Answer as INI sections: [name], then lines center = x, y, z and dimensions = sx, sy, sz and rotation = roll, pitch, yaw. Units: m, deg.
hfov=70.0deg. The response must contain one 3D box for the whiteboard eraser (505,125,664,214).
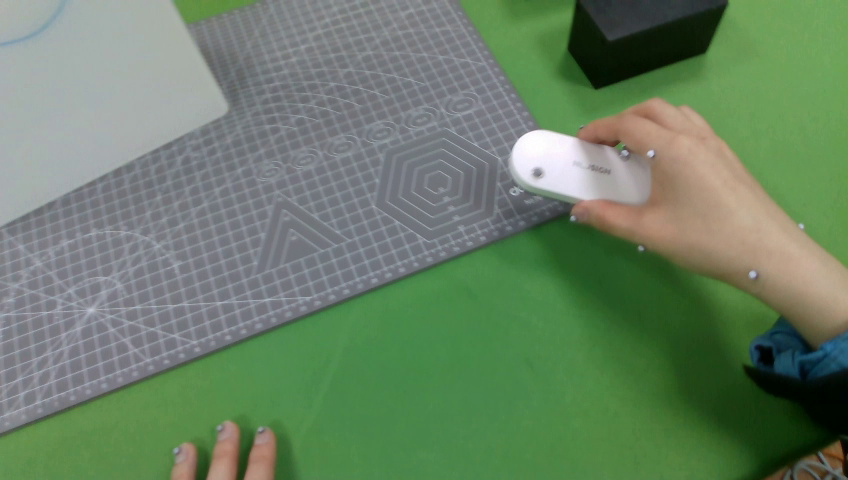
[whiteboard eraser]
center = 0.103, -0.045, 0.389
dimensions = 0.101, 0.019, 0.041
rotation = 16, 74, 2

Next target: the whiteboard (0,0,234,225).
[whiteboard]
center = -0.304, -0.191, 0.390
dimensions = 0.217, 0.309, 0.142
rotation = -30, 45, -12
